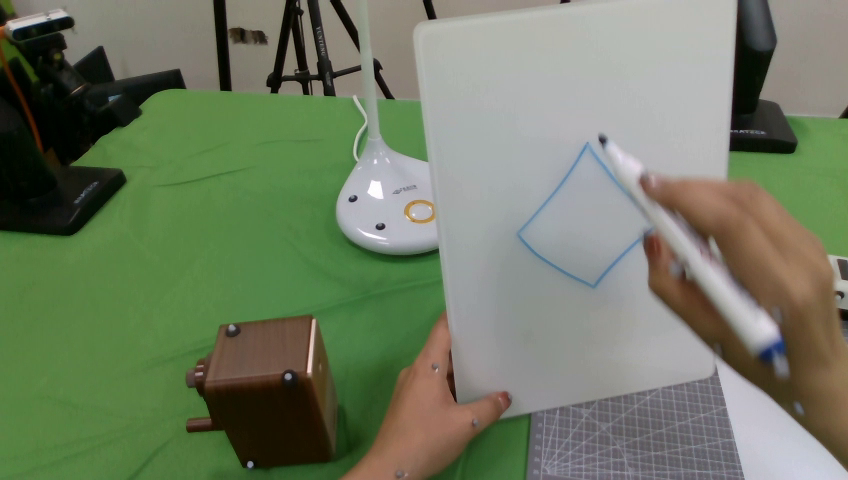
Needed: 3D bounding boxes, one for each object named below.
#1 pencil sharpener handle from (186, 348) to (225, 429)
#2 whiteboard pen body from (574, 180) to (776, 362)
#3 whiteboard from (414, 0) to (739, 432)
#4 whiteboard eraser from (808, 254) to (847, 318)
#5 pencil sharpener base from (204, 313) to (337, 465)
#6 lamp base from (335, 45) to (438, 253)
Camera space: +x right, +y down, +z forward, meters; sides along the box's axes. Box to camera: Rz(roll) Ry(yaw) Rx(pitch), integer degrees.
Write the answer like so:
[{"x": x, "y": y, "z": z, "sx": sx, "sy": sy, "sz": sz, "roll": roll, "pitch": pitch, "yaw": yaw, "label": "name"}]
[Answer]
[{"x": -0.163, "y": 0.111, "z": 0.438, "sx": 0.030, "sy": 0.068, "sz": 0.035, "roll": -6, "pitch": 27, "yaw": -1, "label": "pencil sharpener handle"}, {"x": 0.125, "y": 0.009, "z": 0.321, "sx": 0.017, "sy": 0.017, "sz": 0.139, "roll": -22, "pitch": 51, "yaw": -20, "label": "whiteboard pen body"}, {"x": 0.108, "y": -0.030, "z": 0.497, "sx": 0.217, "sy": 0.307, "sz": 0.142, "roll": -9, "pitch": 21, "yaw": -5, "label": "whiteboard"}, {"x": 0.407, "y": 0.048, "z": 0.537, "sx": 0.112, "sy": 0.042, "sz": 0.055, "roll": 11, "pitch": 43, "yaw": 17, "label": "whiteboard eraser"}, {"x": -0.111, "y": 0.113, "z": 0.451, "sx": 0.077, "sy": 0.108, "sz": 0.060, "roll": -6, "pitch": 41, "yaw": -1, "label": "pencil sharpener base"}, {"x": -0.032, "y": -0.105, "z": 0.647, "sx": 0.161, "sy": 0.182, "sz": 0.177, "roll": -28, "pitch": 43, "yaw": -26, "label": "lamp base"}]
